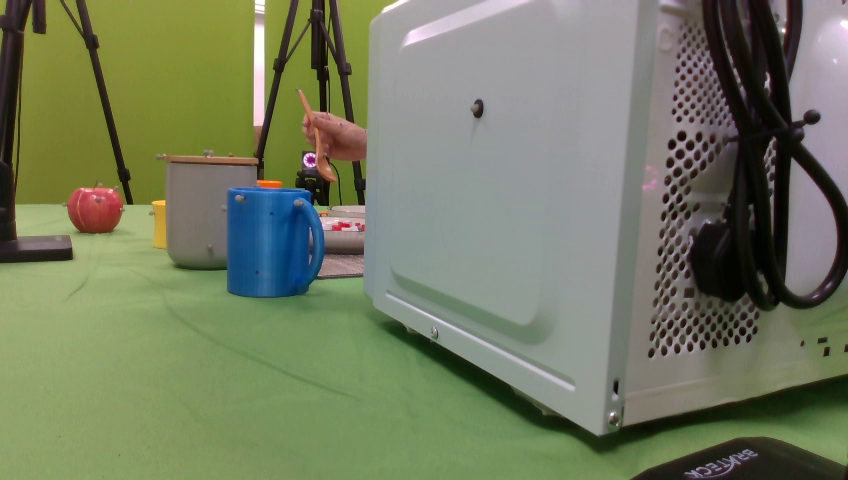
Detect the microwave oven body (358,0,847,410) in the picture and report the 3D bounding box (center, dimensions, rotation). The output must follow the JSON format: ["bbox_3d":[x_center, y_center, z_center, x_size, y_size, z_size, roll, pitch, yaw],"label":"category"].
[{"bbox_3d":[0.210,-0.051,0.471,0.444,0.260,0.324,-1,7,-28],"label":"microwave oven body"}]

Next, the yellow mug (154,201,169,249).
[{"bbox_3d":[-0.337,-0.022,0.899,0.130,0.064,0.100,8,9,34],"label":"yellow mug"}]

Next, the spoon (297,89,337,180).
[{"bbox_3d":[-0.189,-0.185,1.055,0.021,0.193,0.042,-27,-20,25],"label":"spoon"}]

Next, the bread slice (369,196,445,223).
[{"bbox_3d":[-0.040,-0.057,1.142,0.107,0.018,0.133,-8,-8,-40],"label":"bread slice"}]

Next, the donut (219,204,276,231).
[{"bbox_3d":[-0.316,-0.039,1.083,0.099,0.048,0.099,3,6,0],"label":"donut"}]

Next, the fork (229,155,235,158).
[{"bbox_3d":[-0.459,-0.134,1.415,0.028,0.018,0.207,-1,-34,-24],"label":"fork"}]

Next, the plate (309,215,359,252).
[{"bbox_3d":[-0.130,-0.011,0.946,0.208,0.039,0.207,2,8,0],"label":"plate"}]

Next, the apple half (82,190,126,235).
[{"bbox_3d":[-0.516,-0.046,0.994,0.032,0.081,0.081,0,6,26],"label":"apple half"}]

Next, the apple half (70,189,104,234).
[{"bbox_3d":[-0.552,-0.048,1.009,0.053,0.074,0.081,-1,9,26],"label":"apple half"}]

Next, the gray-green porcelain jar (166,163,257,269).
[{"bbox_3d":[-0.263,-0.031,0.754,0.106,0.126,0.106,2,7,0],"label":"gray-green porcelain jar"}]

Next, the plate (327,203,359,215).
[{"bbox_3d":[-0.102,-0.053,1.299,0.209,0.038,0.209,2,8,0],"label":"plate"}]

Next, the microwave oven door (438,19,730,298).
[{"bbox_3d":[0.181,-0.076,0.618,0.358,0.243,0.039,-2,8,-28],"label":"microwave oven door"}]

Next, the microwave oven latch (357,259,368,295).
[{"bbox_3d":[-0.019,0.031,0.529,0.079,0.029,0.030,-1,7,-26],"label":"microwave oven latch"}]

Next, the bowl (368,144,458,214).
[{"bbox_3d":[-0.006,-0.090,0.973,0.151,0.077,0.151,-21,2,1],"label":"bowl"}]

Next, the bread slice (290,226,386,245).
[{"bbox_3d":[-0.124,-0.008,0.937,0.131,0.019,0.105,3,8,32],"label":"bread slice"}]

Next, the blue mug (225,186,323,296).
[{"bbox_3d":[-0.148,0.000,0.618,0.116,0.106,0.083,7,9,33],"label":"blue mug"}]

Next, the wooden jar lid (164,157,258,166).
[{"bbox_3d":[-0.261,-0.093,0.746,0.108,0.020,0.108,0,9,0],"label":"wooden jar lid"}]

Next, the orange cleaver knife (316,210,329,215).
[{"bbox_3d":[-0.259,-0.064,1.423,0.212,0.012,0.077,-4,3,-30],"label":"orange cleaver knife"}]
